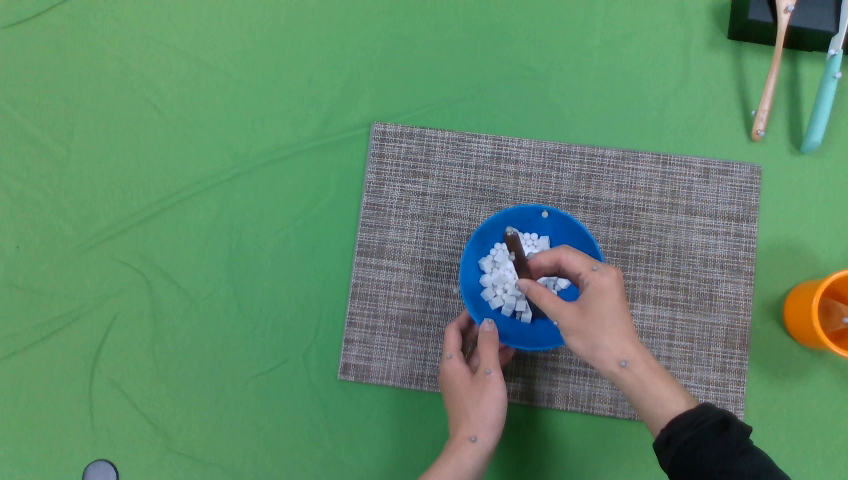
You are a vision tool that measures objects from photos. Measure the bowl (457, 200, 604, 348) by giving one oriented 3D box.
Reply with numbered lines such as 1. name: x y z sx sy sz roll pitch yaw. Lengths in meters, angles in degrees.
1. bowl: 0.109 0.038 0.650 0.151 0.077 0.151 0 84 2

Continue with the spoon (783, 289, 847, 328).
1. spoon: 0.469 0.077 0.606 0.022 0.192 0.041 13 83 -42

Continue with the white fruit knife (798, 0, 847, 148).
1. white fruit knife: 0.447 -0.205 0.666 0.016 0.027 0.208 8 101 0

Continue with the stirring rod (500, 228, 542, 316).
1. stirring rod: 0.096 0.036 0.582 0.014 0.178 0.006 2 60 20

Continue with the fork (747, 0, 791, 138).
1. fork: 0.386 -0.217 0.670 0.028 0.018 0.208 4 104 -1
